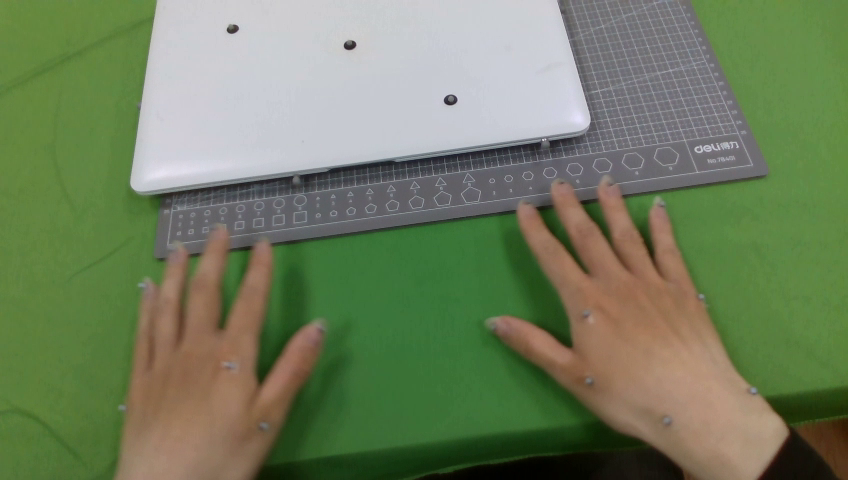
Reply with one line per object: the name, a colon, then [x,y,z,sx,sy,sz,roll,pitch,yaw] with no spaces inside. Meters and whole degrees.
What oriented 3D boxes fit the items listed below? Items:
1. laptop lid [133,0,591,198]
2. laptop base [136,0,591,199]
laptop lid: [-0.060,-0.156,0.505,0.357,0.013,0.239,-6,63,2]
laptop base: [-0.059,-0.153,0.517,0.354,0.023,0.233,-8,64,1]
